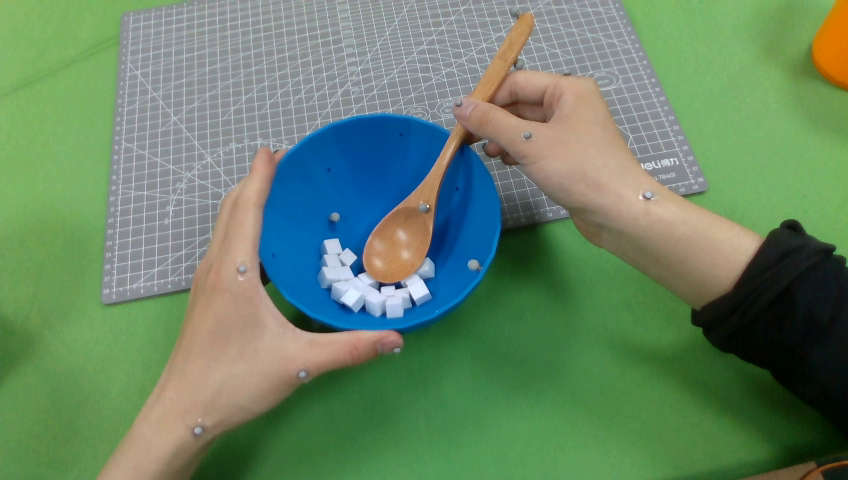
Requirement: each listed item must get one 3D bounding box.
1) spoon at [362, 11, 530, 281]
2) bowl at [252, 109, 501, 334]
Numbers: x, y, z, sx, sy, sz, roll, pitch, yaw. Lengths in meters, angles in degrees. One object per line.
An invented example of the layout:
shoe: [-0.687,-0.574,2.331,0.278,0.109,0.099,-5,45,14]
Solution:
spoon: [0.017,-0.059,0.388,0.041,0.022,0.194,33,100,18]
bowl: [-0.028,-0.002,0.400,0.151,0.077,0.150,0,65,0]
